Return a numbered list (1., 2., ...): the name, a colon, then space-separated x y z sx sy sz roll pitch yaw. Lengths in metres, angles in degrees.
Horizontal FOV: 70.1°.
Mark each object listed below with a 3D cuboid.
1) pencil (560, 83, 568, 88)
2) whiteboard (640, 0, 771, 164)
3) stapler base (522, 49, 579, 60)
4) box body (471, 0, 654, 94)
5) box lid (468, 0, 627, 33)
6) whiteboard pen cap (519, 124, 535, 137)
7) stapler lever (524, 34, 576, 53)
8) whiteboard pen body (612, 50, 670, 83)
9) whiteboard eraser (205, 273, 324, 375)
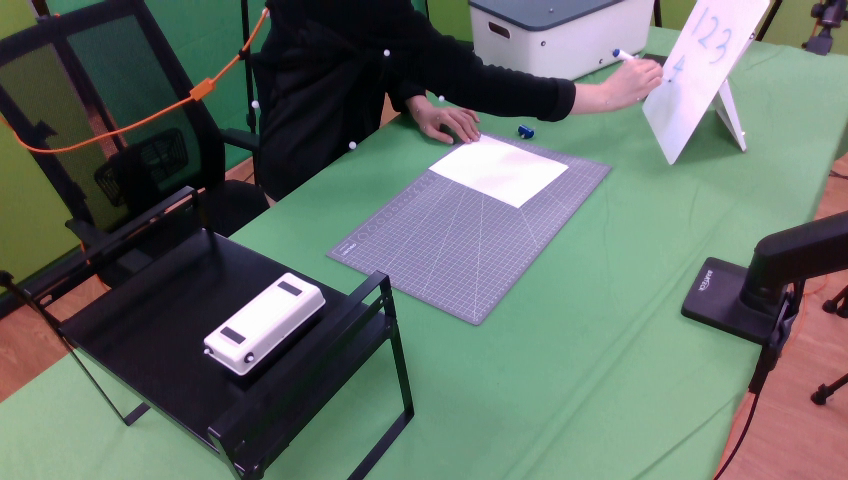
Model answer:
1. pencil: 0.248 -0.393 1.398 0.193 0.012 0.012 33 53 23
2. whiteboard: 0.543 -0.299 1.076 0.144 0.305 0.216 12 40 -7
3. stapler base: 0.300 -0.441 1.434 0.130 0.024 0.041 3 23 18
4. box body: 0.319 -0.498 1.405 0.365 0.161 0.252 -26 43 -21
5. box lid: 0.312 -0.554 1.358 0.373 0.015 0.261 -26 44 -20
6. whiteboard pen cap: 0.206 -0.218 1.204 0.018 0.018 0.033 -27 45 -22
7. stapler lever: 0.297 -0.462 1.424 0.117 0.040 0.027 5 24 17
8. whiteboard pen body: 0.404 -0.317 1.115 0.142 0.017 0.017 18 34 -23
9. whiteboard eraser: -0.157 0.084 0.605 0.055 0.042 0.113 24 49 30
